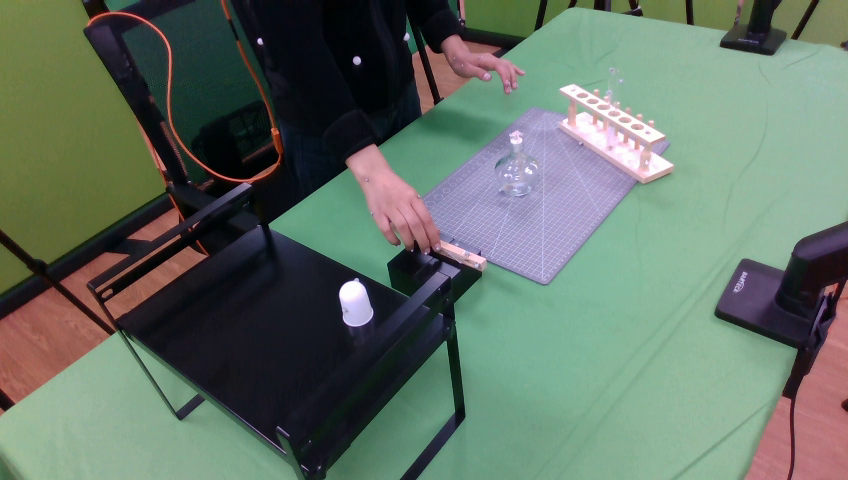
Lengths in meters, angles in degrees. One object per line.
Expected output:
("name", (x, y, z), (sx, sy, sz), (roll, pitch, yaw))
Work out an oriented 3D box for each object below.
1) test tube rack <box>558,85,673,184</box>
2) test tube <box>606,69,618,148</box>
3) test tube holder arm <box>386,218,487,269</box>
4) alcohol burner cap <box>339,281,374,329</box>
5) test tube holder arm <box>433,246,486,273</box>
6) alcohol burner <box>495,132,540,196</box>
("test tube rack", (0.347, -0.203, 1.109), (0.067, 0.085, 0.240), (-22, 42, -17))
("test tube", (0.330, -0.228, 1.064), (0.017, 0.151, 0.017), (-7, 39, 6))
("test tube holder arm", (0.015, 0.002, 0.888), (0.177, 0.013, 0.015), (26, 40, 29))
("alcohol burner cap", (-0.071, 0.063, 0.617), (0.034, 0.048, 0.033), (-5, 39, 4))
("test tube holder arm", (0.050, 0.024, 0.870), (0.087, 0.010, 0.015), (26, 40, 29))
("alcohol burner", (0.159, -0.135, 1.035), (0.078, 0.119, 0.077), (-5, 42, 5))
